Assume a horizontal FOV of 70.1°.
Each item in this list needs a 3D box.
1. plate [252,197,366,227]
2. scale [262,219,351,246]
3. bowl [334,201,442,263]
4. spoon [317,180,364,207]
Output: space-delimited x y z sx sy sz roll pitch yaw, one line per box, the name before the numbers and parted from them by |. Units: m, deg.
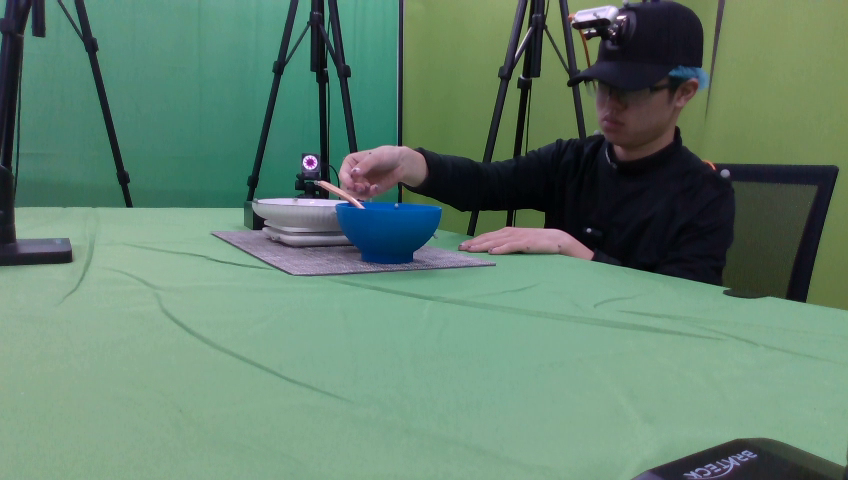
plate | -0.178 -0.047 1.012 0.209 0.038 0.209 2 6 0
scale | -0.160 -0.015 1.027 0.202 0.031 0.148 -2 8 -32
bowl | -0.051 -0.012 0.849 0.151 0.077 0.151 2 7 0
spoon | -0.100 -0.051 0.875 0.042 0.021 0.192 -13 37 -38
